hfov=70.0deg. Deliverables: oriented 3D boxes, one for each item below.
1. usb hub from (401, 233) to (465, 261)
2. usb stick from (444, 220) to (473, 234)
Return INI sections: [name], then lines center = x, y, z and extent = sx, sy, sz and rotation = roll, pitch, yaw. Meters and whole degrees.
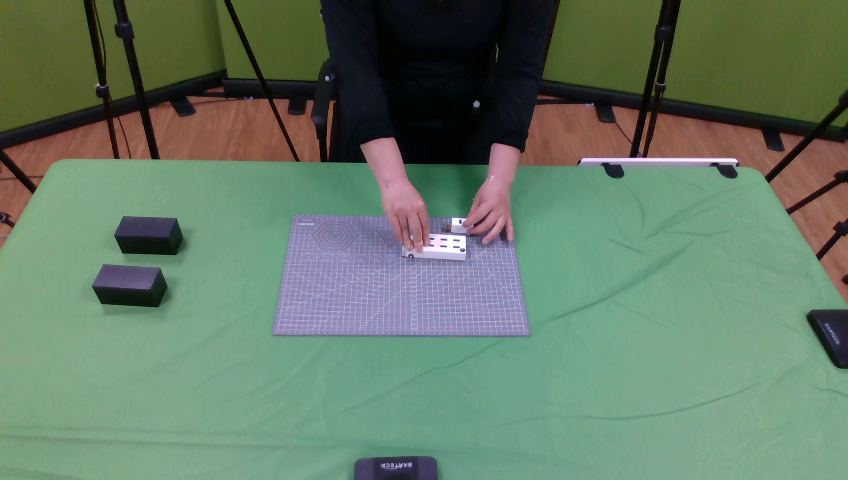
[usb hub]
center = 0.018, 0.014, 1.180
extent = 0.125, 0.025, 0.049
rotation = 4, 47, 0
[usb stick]
center = 0.069, -0.026, 1.220
extent = 0.059, 0.027, 0.021
rotation = -1, 23, 7
